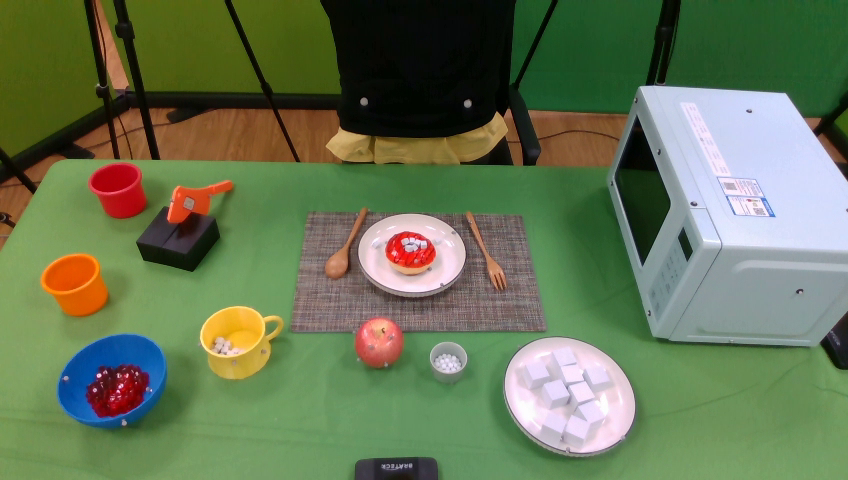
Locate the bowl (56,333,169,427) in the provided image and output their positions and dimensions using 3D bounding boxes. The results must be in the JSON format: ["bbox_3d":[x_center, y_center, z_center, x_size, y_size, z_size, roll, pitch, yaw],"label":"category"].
[{"bbox_3d":[-0.456,0.223,0.911,0.151,0.077,0.150,3,46,-2],"label":"bowl"}]

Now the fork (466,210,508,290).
[{"bbox_3d":[0.120,0.016,1.188,0.028,0.019,0.206,-17,48,-5],"label":"fork"}]

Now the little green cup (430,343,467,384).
[{"bbox_3d":[0.039,0.203,0.994,0.061,0.039,0.061,2,46,-2],"label":"little green cup"}]

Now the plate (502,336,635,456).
[{"bbox_3d":[0.225,0.248,0.963,0.208,0.039,0.206,2,46,-2],"label":"plate"}]

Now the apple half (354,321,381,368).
[{"bbox_3d":[-0.097,0.176,0.985,0.033,0.081,0.080,-12,48,-20],"label":"apple half"}]

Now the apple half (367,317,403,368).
[{"bbox_3d":[-0.061,0.167,0.998,0.053,0.075,0.080,-11,44,-20],"label":"apple half"}]

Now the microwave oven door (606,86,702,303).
[{"bbox_3d":[0.423,-0.094,1.141,0.039,0.245,0.353,2,46,-1],"label":"microwave oven door"}]

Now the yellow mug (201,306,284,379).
[{"bbox_3d":[-0.291,0.160,0.993,0.131,0.064,0.099,-23,51,-25],"label":"yellow mug"}]

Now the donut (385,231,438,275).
[{"bbox_3d":[-0.024,0.024,1.142,0.099,0.048,0.098,3,43,-2],"label":"donut"}]

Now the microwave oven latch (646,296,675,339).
[{"bbox_3d":[0.412,0.134,1.061,0.030,0.029,0.078,4,45,1],"label":"microwave oven latch"}]

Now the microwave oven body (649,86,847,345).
[{"bbox_3d":[0.567,-0.053,1.118,0.326,0.261,0.439,2,45,-1],"label":"microwave oven body"}]

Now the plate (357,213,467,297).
[{"bbox_3d":[-0.023,0.032,1.150,0.209,0.038,0.208,2,46,-2],"label":"plate"}]

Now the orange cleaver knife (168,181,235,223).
[{"bbox_3d":[-0.436,-0.078,1.196,0.012,0.077,0.211,16,15,10],"label":"orange cleaver knife"}]

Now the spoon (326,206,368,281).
[{"bbox_3d":[-0.146,0.003,1.188,0.041,0.022,0.193,12,47,7],"label":"spoon"}]
